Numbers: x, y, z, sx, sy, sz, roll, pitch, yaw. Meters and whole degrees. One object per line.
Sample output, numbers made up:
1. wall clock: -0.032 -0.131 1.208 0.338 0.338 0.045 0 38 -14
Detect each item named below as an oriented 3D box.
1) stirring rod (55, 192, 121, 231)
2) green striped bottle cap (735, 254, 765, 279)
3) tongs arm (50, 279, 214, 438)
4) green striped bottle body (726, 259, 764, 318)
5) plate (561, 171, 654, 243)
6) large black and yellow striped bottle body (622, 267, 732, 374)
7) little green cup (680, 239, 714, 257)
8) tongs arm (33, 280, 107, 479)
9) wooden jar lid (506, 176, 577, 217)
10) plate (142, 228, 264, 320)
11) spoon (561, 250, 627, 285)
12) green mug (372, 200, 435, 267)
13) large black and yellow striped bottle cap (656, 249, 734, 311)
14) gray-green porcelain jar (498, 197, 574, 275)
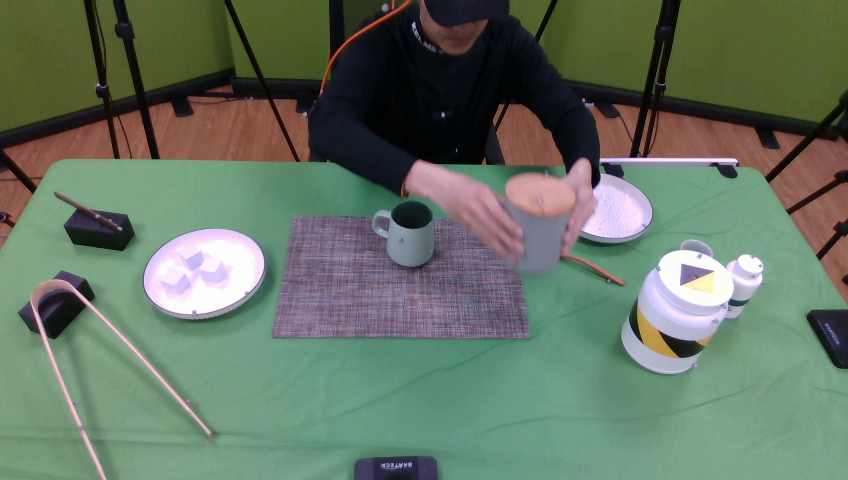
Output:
1. stirring rod: -0.632 -0.055 1.138 0.175 0.014 0.006 24 50 19
2. green striped bottle cap: 0.566 0.046 1.051 0.044 0.020 0.044 0 45 0
3. tongs arm: -0.459 0.178 0.949 0.386 0.028 0.028 37 60 17
4. green striped bottle body: 0.563 0.081 1.089 0.063 0.120 0.063 2 46 -2
5. plate: 0.373 -0.066 1.274 0.209 0.038 0.208 2 46 -2
6. large black and yellow striped bottle body: 0.415 0.119 0.997 0.131 0.185 0.130 2 46 -2
7. little green cup: 0.530 0.033 1.189 0.061 0.039 0.061 2 47 -2
8. tongs arm: -0.517 0.214 0.909 0.051 0.026 0.383 -29 63 -27
9. wooden jar lid: 0.178 -0.063 0.929 0.108 0.021 0.108 3 36 -2
10. plate: -0.394 0.064 1.095 0.208 0.039 0.206 2 46 -2
11. spoon: 0.303 0.040 1.178 0.193 0.022 0.041 25 36 20
12. green mug: -0.040 -0.016 1.146 0.125 0.105 0.092 17 48 13
13. large black and yellow striped bottle cap: 0.419 0.061 0.938 0.115 0.019 0.114 2 47 -2
14. gray-green porcelain jar: 0.175 -0.016 0.968 0.106 0.127 0.105 3 39 -2
